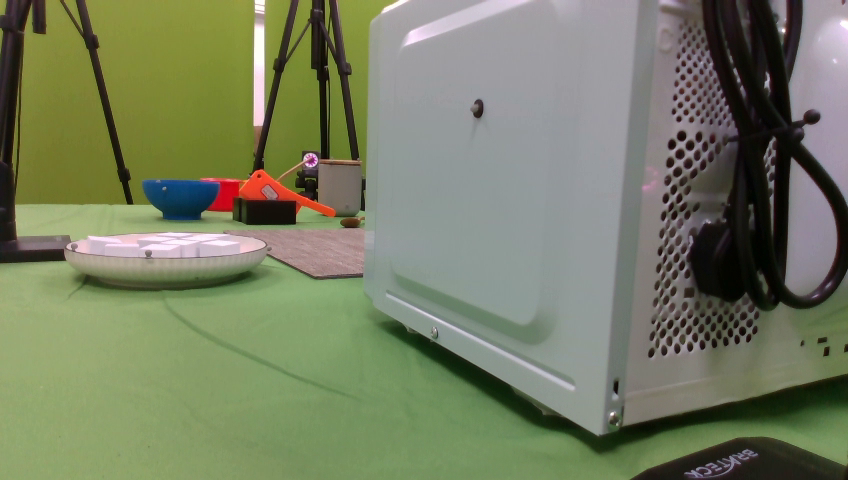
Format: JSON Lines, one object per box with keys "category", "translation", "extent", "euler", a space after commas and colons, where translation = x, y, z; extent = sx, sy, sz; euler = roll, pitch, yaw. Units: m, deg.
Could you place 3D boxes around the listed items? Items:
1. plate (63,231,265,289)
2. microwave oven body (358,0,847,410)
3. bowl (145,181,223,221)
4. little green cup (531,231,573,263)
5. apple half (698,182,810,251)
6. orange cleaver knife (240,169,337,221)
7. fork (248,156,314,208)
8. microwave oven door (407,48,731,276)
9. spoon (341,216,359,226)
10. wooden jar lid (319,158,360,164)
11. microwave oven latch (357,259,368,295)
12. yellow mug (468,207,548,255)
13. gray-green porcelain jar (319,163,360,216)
{"category": "plate", "translation": [-0.288, 0.021, 0.687], "extent": [0.208, 0.039, 0.207], "euler": [2, 8, 0]}
{"category": "microwave oven body", "translation": [0.210, -0.051, 0.471], "extent": [0.444, 0.260, 0.324], "euler": [-1, 7, -28]}
{"category": "bowl", "translation": [-0.499, -0.081, 1.261], "extent": [0.151, 0.077, 0.151], "euler": [2, 8, 0]}
{"category": "little green cup", "translation": [0.184, 0.009, 0.879], "extent": [0.061, 0.038, 0.061], "euler": [2, 9, 0]}
{"category": "apple half", "translation": [0.281, -0.021, 0.512], "extent": [0.075, 0.053, 0.080], "euler": [13, -8, -16]}
{"category": "orange cleaver knife", "translation": [-0.287, -0.082, 1.299], "extent": [0.212, 0.077, 0.012], "euler": [25, -2, -31]}
{"category": "fork", "translation": [-0.360, -0.147, 1.523], "extent": [0.207, 0.019, 0.028], "euler": [-43, 17, -6]}
{"category": "microwave oven door", "translation": [0.162, -0.085, 0.685], "extent": [0.356, 0.243, 0.039], "euler": [1, 8, -4]}
{"category": "spoon", "translation": [-0.132, -0.048, 1.305], "extent": [0.041, 0.021, 0.194], "euler": [-15, 4, 14]}
{"category": "wooden jar lid", "translation": [-0.203, -0.189, 1.482], "extent": [0.108, 0.020, 0.108], "euler": [2, 10, 0]}
{"category": "microwave oven latch", "translation": [-0.019, 0.031, 0.529], "extent": [0.079, 0.029, 0.030], "euler": [-1, 7, -26]}
{"category": "yellow mug", "translation": [0.136, -0.015, 0.950], "extent": [0.131, 0.064, 0.099], "euler": [2, 6, -20]}
{"category": "gray-green porcelain jar", "translation": [-0.204, -0.126, 1.490], "extent": [0.106, 0.126, 0.106], "euler": [2, 8, 0]}
